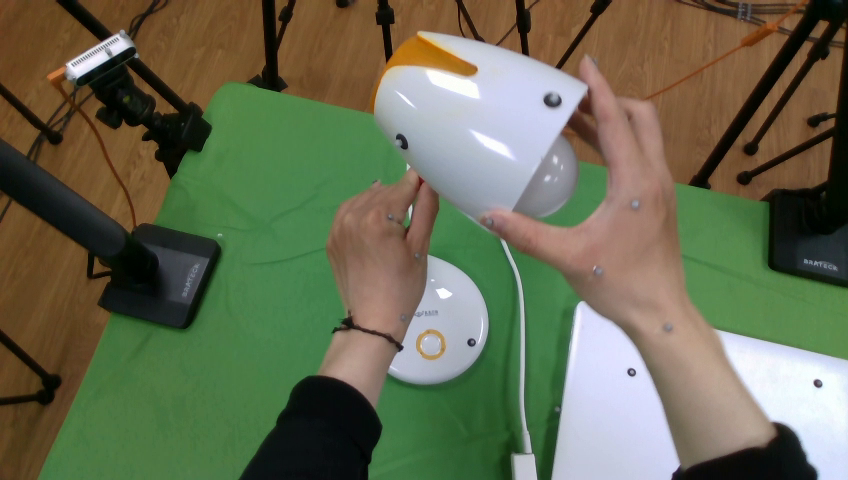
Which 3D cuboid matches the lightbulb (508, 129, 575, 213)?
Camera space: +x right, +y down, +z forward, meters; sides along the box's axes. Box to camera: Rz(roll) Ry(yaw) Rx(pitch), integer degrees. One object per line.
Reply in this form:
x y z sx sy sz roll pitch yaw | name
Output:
0.048 -0.063 0.387 0.107 0.059 0.059 42 73 1 | lightbulb

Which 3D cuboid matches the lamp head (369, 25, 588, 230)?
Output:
0.027 -0.081 0.396 0.122 0.113 0.112 30 70 10 | lamp head

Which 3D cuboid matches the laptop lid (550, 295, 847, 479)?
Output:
0.339 0.210 0.716 0.356 0.013 0.240 14 70 4 | laptop lid

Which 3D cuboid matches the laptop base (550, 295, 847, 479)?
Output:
0.339 0.213 0.727 0.354 0.023 0.234 13 71 3 | laptop base

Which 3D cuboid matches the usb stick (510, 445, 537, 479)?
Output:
0.115 0.267 0.694 0.027 0.021 0.059 0 78 -4 | usb stick

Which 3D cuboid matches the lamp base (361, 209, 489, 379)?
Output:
-0.001 0.053 0.692 0.161 0.181 0.177 -16 67 -8 | lamp base
